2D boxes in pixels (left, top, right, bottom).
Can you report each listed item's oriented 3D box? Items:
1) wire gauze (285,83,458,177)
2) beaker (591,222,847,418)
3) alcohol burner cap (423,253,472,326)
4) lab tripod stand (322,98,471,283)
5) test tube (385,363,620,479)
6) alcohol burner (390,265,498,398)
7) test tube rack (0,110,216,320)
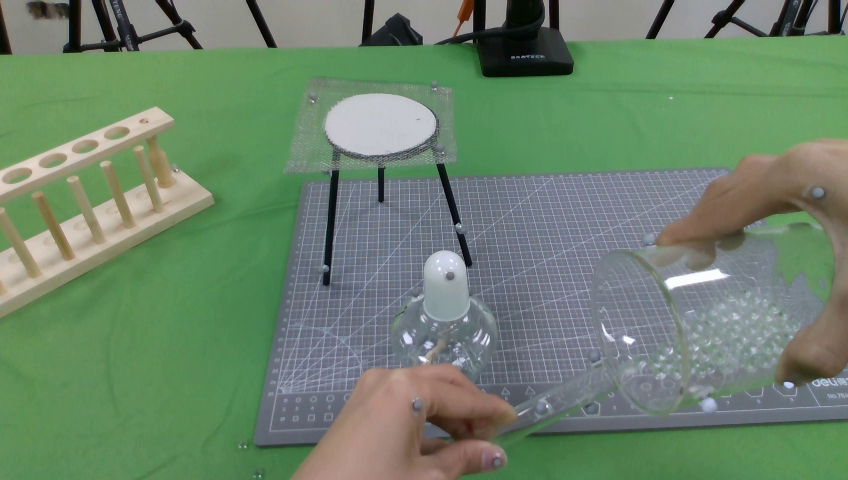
[{"bbox_3d":[-0.037,-0.088,0.464,0.121,0.011,0.124,1,43,-1],"label":"wire gauze"},{"bbox_3d":[0.139,0.035,0.279,0.100,0.084,0.073,-10,55,-11],"label":"beaker"},{"bbox_3d":[0.015,0.030,0.397,0.034,0.048,0.033,-3,42,3],"label":"alcohol burner cap"},{"bbox_3d":[-0.028,-0.040,0.512,0.148,0.132,0.147,1,42,-1],"label":"lab tripod stand"},{"bbox_3d":[0.036,0.106,0.324,0.150,0.017,0.017,-35,38,21],"label":"test tube"},{"bbox_3d":[0.014,0.056,0.421,0.078,0.120,0.077,0,44,0],"label":"alcohol burner"},{"bbox_3d":[-0.316,-0.021,0.532,0.066,0.086,0.242,33,52,31],"label":"test tube rack"}]
